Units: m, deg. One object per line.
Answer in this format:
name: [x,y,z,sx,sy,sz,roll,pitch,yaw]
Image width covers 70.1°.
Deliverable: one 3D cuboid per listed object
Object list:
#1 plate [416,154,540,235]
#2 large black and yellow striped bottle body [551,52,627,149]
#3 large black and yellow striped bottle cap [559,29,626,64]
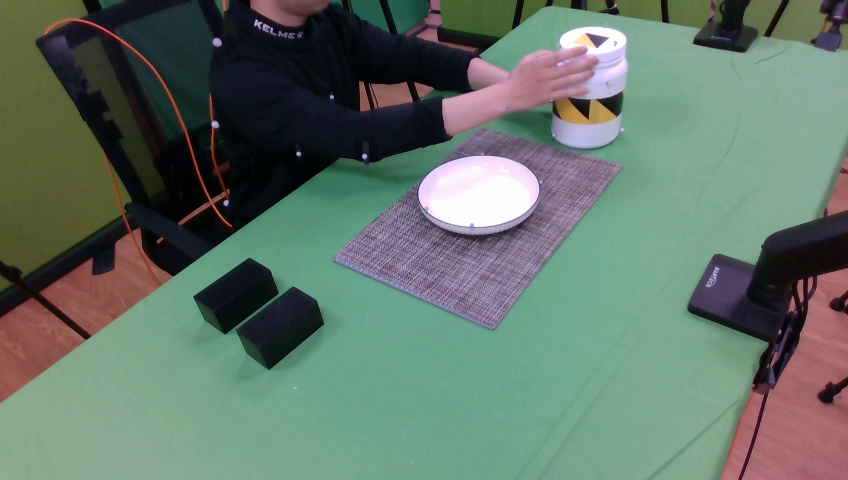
plate: [0.091,-0.074,1.025,0.207,0.039,0.206,-4,41,4]
large black and yellow striped bottle body: [0.305,-0.278,1.125,0.131,0.185,0.130,-4,41,4]
large black and yellow striped bottle cap: [0.297,-0.343,1.068,0.115,0.019,0.114,-5,39,4]
